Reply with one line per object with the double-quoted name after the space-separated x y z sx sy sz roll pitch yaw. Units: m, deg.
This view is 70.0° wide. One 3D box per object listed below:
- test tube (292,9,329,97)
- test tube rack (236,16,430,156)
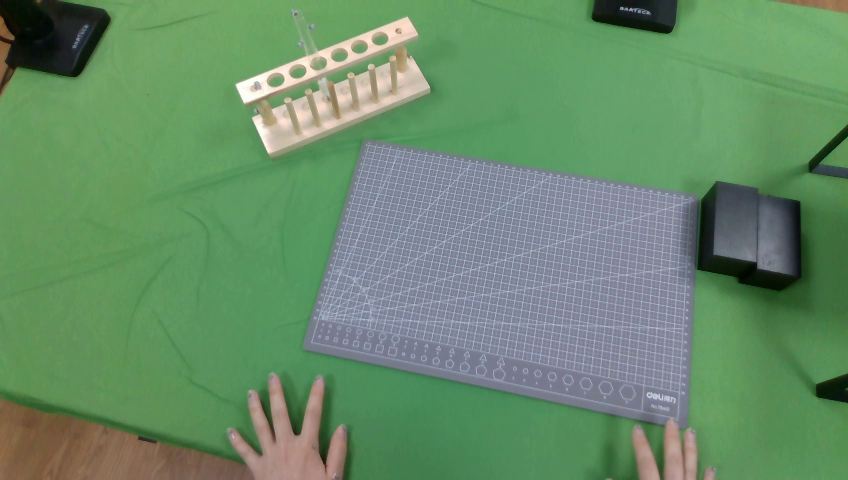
-0.141 -0.234 0.773 0.017 0.151 0.017 -2 65 4 "test tube"
-0.116 -0.206 0.815 0.242 0.086 0.066 -24 69 -9 "test tube rack"
